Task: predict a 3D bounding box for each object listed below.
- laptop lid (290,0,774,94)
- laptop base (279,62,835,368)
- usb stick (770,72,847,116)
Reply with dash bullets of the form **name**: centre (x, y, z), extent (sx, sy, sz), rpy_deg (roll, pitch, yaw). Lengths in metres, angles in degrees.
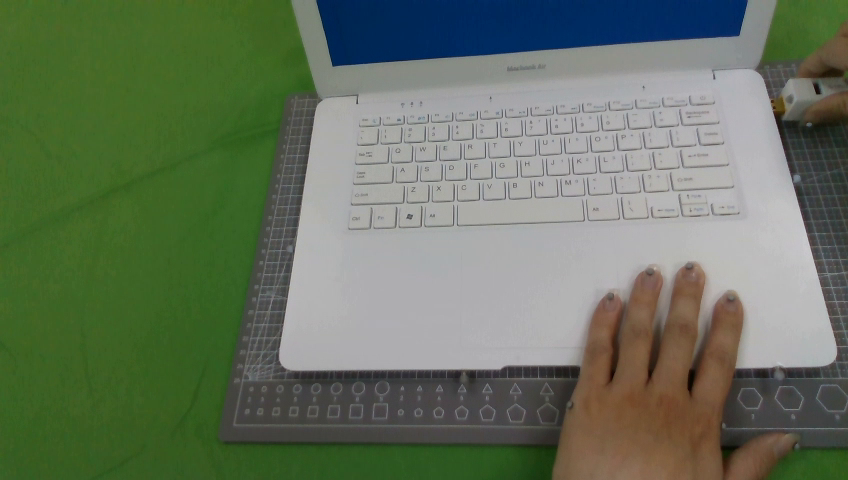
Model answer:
- **laptop lid**: centre (0.068, -0.211, 0.412), extent (0.356, 0.244, 0.013), rpy_deg (-3, 44, 9)
- **laptop base**: centre (0.079, -0.023, 0.441), extent (0.354, 0.023, 0.233), rpy_deg (-2, 66, 7)
- **usb stick**: centre (0.279, -0.106, 0.442), extent (0.059, 0.027, 0.021), rpy_deg (-2, 61, 10)
